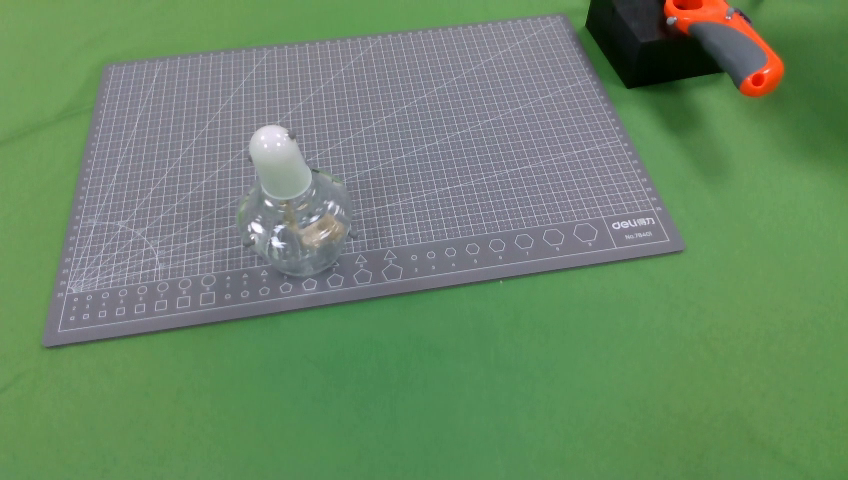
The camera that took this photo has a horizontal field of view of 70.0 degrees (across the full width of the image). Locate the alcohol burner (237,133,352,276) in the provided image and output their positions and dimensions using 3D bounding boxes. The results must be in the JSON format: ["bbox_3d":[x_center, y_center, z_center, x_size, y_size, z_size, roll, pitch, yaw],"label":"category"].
[{"bbox_3d":[-0.088,-0.028,0.400,0.078,0.120,0.077,-1,56,1],"label":"alcohol burner"}]

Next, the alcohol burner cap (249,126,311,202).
[{"bbox_3d":[-0.090,-0.049,0.371,0.034,0.048,0.033,0,57,1],"label":"alcohol burner cap"}]

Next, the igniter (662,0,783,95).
[{"bbox_3d":[0.227,-0.217,0.531,0.057,0.025,0.273,-13,53,-5],"label":"igniter"}]
